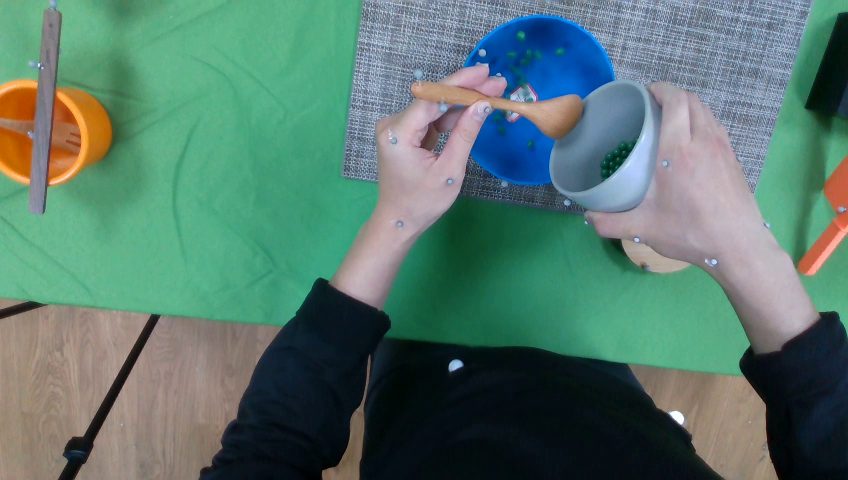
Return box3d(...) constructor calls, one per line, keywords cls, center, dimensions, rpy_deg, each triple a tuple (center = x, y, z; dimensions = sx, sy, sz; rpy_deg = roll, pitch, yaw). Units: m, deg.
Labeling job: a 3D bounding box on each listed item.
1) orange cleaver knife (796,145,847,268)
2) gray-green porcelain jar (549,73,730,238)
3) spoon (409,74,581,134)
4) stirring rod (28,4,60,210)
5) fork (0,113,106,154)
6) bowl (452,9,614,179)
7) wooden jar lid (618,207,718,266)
box3d(cls="orange cleaver knife", center=(0.453, -0.058, 0.641), dimensions=(0.012, 0.076, 0.213), rpy_deg=(3, 136, -9))
box3d(cls="gray-green porcelain jar", center=(0.189, -0.066, 0.525), dimensions=(0.127, 0.105, 0.106), rpy_deg=(25, 103, -28))
box3d(cls="spoon", center=(0.062, -0.107, 0.466), dimensions=(0.195, 0.021, 0.042), rpy_deg=(-1, 127, -39))
box3d(cls="stirring rod", center=(-0.324, -0.110, 0.516), dimensions=(0.014, 0.006, 0.176), rpy_deg=(11, 106, -11))
box3d(cls="fork", center=(-0.378, -0.110, 0.513), dimensions=(0.028, 0.018, 0.209), rpy_deg=(-52, 148, 17))
box3d(cls="bowl", center=(0.097, -0.139, 0.582), dimensions=(0.151, 0.076, 0.152), rpy_deg=(-1, 107, -5))
box3d(cls="wooden jar lid", center=(0.264, -0.024, 0.662), dimensions=(0.108, 0.020, 0.109), rpy_deg=(-1, 112, -3))
